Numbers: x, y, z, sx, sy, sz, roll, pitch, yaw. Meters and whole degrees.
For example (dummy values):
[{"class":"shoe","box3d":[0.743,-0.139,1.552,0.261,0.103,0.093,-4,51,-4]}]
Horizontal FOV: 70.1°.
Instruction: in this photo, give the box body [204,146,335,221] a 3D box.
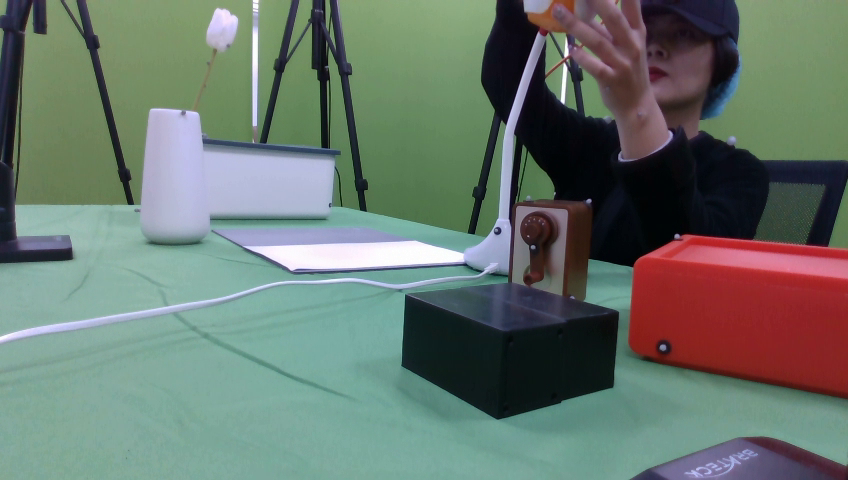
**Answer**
[{"class":"box body","box3d":[-0.411,-0.135,1.386,0.366,0.160,0.253,-2,9,-29]}]

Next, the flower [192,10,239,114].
[{"class":"flower","box3d":[-0.354,-0.174,0.916,0.038,0.361,0.044,18,-3,12]}]

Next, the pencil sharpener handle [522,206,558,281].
[{"class":"pencil sharpener handle","box3d":[0.102,0.003,0.555,0.036,0.067,0.031,0,5,31]}]

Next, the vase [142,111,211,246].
[{"class":"vase","box3d":[-0.378,-0.093,0.920,0.098,0.200,0.098,2,9,0]}]

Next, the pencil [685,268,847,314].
[{"class":"pencil","box3d":[0.308,0.045,0.516,0.194,0.012,0.012,13,5,-11]}]

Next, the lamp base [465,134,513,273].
[{"class":"lamp base","box3d":[0.132,-0.052,0.808,0.160,0.180,0.180,6,12,26]}]

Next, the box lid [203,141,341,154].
[{"class":"box lid","box3d":[-0.396,-0.212,1.373,0.373,0.015,0.262,-1,9,-29]}]

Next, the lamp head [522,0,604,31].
[{"class":"lamp head","box3d":[0.148,-0.282,0.628,0.112,0.123,0.112,13,18,-4]}]

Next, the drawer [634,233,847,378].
[{"class":"drawer","box3d":[0.292,0.045,0.488,0.193,0.073,0.213,7,9,30]}]

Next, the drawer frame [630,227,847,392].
[{"class":"drawer frame","box3d":[0.292,0.043,0.484,0.201,0.082,0.214,7,9,29]}]

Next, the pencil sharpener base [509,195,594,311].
[{"class":"pencil sharpener base","box3d":[0.126,0.011,0.601,0.061,0.107,0.077,7,9,30]}]
